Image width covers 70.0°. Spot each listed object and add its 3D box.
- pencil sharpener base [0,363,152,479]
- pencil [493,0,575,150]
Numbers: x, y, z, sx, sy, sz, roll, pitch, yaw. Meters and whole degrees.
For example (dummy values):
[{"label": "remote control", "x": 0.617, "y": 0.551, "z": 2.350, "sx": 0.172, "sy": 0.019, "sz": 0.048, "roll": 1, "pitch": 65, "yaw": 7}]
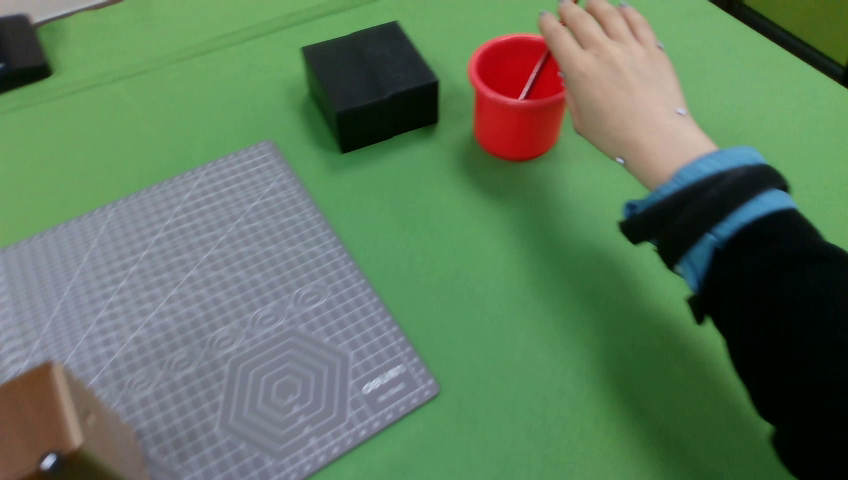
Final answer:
[{"label": "pencil sharpener base", "x": -0.211, "y": 0.130, "z": 0.337, "sx": 0.077, "sy": 0.108, "sz": 0.061, "roll": -28, "pitch": 57, "yaw": -18}, {"label": "pencil", "x": 0.106, "y": -0.167, "z": 0.535, "sx": 0.012, "sy": 0.012, "sz": 0.194, "roll": 30, "pitch": 100, "yaw": 22}]
